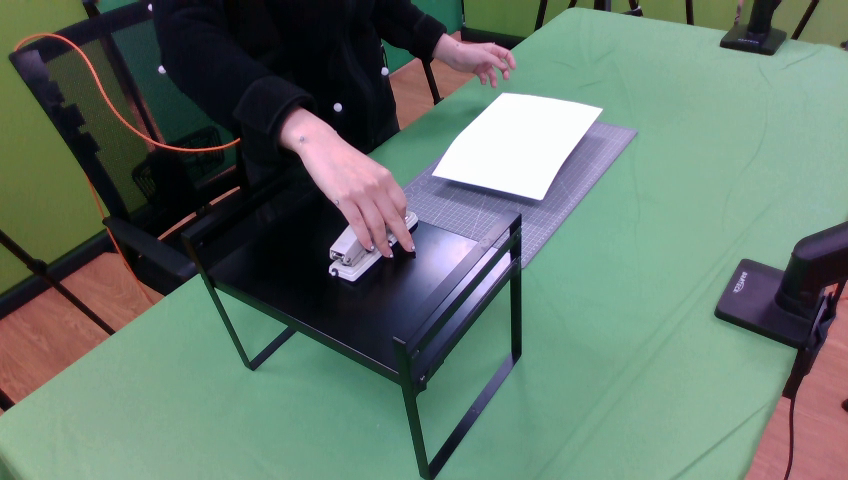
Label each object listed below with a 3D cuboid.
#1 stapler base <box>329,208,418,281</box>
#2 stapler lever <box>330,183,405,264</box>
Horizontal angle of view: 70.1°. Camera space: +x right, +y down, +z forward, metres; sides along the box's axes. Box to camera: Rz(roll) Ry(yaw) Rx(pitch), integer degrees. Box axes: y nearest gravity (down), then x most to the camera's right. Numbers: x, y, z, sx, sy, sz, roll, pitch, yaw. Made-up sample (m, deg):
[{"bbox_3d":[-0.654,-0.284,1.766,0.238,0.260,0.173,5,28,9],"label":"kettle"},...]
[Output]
[{"bbox_3d":[-0.058,-0.004,0.707,0.041,0.024,0.131,15,47,34],"label":"stapler base"},{"bbox_3d":[-0.063,-0.022,0.691,0.026,0.040,0.118,15,46,34],"label":"stapler lever"}]
